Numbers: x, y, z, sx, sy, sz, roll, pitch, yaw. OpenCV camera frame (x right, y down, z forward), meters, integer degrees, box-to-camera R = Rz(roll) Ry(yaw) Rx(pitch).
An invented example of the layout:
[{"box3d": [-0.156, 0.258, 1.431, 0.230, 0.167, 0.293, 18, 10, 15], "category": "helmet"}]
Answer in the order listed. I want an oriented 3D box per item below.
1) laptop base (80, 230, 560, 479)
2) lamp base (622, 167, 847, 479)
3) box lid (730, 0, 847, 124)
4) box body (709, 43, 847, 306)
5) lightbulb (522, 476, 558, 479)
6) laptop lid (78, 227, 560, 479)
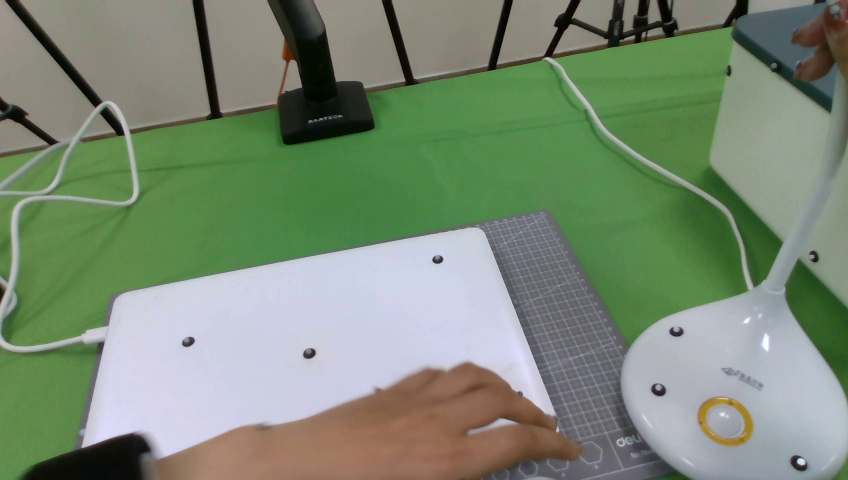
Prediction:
[{"box3d": [-0.091, 0.103, 0.511, 0.355, 0.023, 0.233, -11, 46, -5], "category": "laptop base"}, {"box3d": [0.232, 0.051, 0.411, 0.159, 0.182, 0.178, 16, 43, 21], "category": "lamp base"}, {"box3d": [0.449, -0.113, 0.470, 0.264, 0.015, 0.367, -11, 43, -7], "category": "box lid"}, {"box3d": [0.455, -0.057, 0.519, 0.254, 0.162, 0.360, -12, 43, -7], "category": "box body"}, {"box3d": [0.078, 0.199, 0.367, 0.059, 0.060, 0.106, -8, 58, -2], "category": "lightbulb"}, {"box3d": [-0.092, 0.096, 0.501, 0.357, 0.013, 0.239, -10, 45, -4], "category": "laptop lid"}]
